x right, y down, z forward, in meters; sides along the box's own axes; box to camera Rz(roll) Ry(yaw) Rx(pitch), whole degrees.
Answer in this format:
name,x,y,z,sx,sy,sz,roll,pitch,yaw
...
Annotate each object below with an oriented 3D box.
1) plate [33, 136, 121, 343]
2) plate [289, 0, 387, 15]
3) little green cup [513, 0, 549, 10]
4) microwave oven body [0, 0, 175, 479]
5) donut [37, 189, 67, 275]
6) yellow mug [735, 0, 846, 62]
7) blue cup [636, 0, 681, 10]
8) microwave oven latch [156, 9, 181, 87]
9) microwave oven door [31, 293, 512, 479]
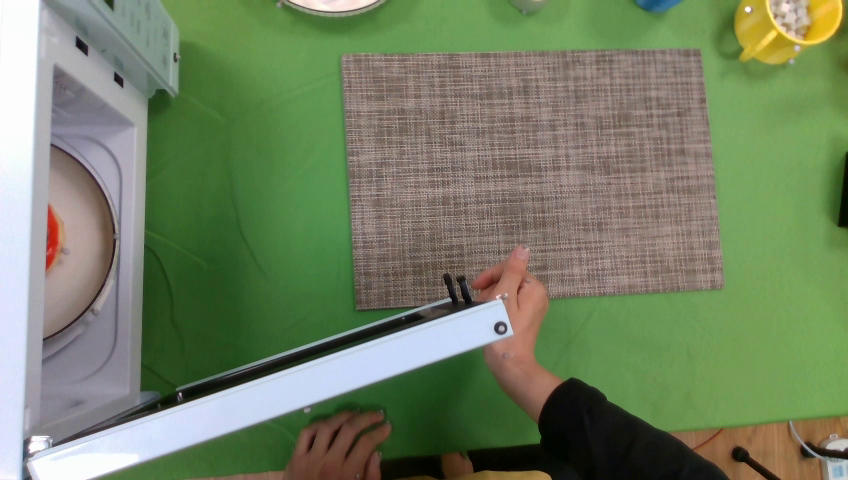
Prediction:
name,x,y,z,sx,sy,sz,roll,pitch,yaw
plate,-0.401,-0.001,0.588,0.209,0.038,0.208,1,86,-7
plate,-0.103,-0.360,0.709,0.208,0.039,0.207,1,86,-6
little green cup,0.132,-0.311,0.731,0.061,0.038,0.061,1,85,-6
microwave oven body,-0.420,-0.042,0.537,0.326,0.260,0.441,0,86,-6
donut,-0.396,-0.009,0.580,0.099,0.048,0.099,0,94,-1
yellow mug,0.440,-0.270,0.747,0.131,0.064,0.100,-45,91,-6
blue cup,0.295,-0.322,0.718,0.093,0.100,0.092,0,87,-7
microwave oven latch,-0.283,-0.210,0.660,0.030,0.029,0.079,2,86,-6
microwave oven door,-0.113,0.119,0.553,0.356,0.244,0.039,-18,86,-7
